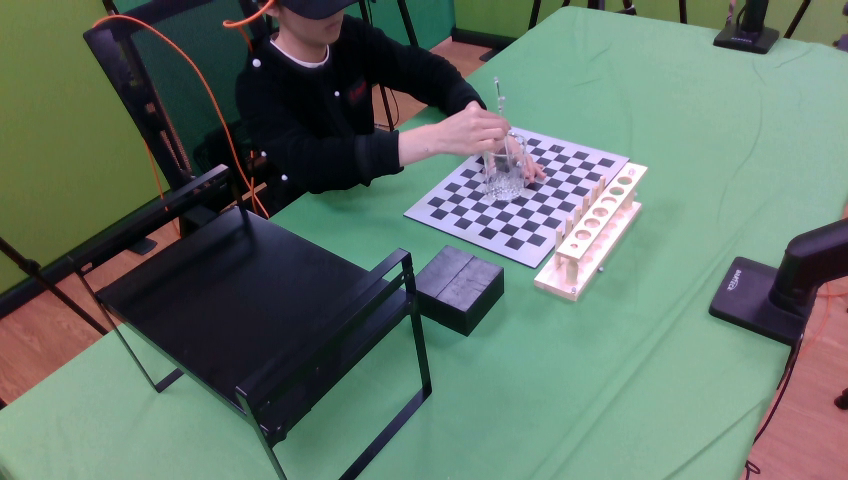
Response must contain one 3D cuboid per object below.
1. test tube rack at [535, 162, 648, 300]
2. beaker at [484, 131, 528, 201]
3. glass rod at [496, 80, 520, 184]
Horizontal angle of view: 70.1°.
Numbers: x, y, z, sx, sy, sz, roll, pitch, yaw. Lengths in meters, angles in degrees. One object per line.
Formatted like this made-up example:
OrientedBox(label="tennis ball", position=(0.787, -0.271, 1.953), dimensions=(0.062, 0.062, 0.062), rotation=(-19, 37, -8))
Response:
OrientedBox(label="test tube rack", position=(0.257, -0.024, 0.916), dimensions=(0.066, 0.085, 0.243), rotation=(22, 49, 30))
OrientedBox(label="beaker", position=(0.143, -0.126, 1.035), dimensions=(0.073, 0.101, 0.084), rotation=(25, 50, 32))
OrientedBox(label="glass rod", position=(0.140, -0.173, 1.000), dimensions=(0.008, 0.201, 0.008), rotation=(-11, 39, 10))
